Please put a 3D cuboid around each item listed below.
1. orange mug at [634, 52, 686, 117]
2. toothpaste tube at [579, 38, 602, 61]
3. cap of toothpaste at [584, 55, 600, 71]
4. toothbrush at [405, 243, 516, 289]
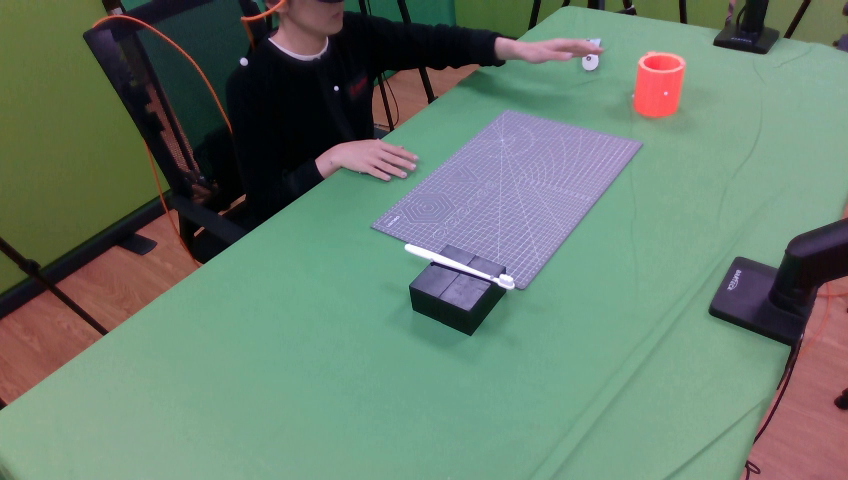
[{"bbox_3d":[0.469,-0.322,1.219,0.083,0.101,0.125,-5,45,3],"label":"orange mug"},{"bbox_3d":[0.398,-0.449,1.433,0.055,0.034,0.164,6,38,8],"label":"toothpaste tube"},{"bbox_3d":[0.381,-0.403,1.372,0.037,0.037,0.011,2,38,10],"label":"cap of toothpaste"},{"bbox_3d":[0.048,0.034,0.859,0.180,0.017,0.014,19,51,28],"label":"toothbrush"}]
